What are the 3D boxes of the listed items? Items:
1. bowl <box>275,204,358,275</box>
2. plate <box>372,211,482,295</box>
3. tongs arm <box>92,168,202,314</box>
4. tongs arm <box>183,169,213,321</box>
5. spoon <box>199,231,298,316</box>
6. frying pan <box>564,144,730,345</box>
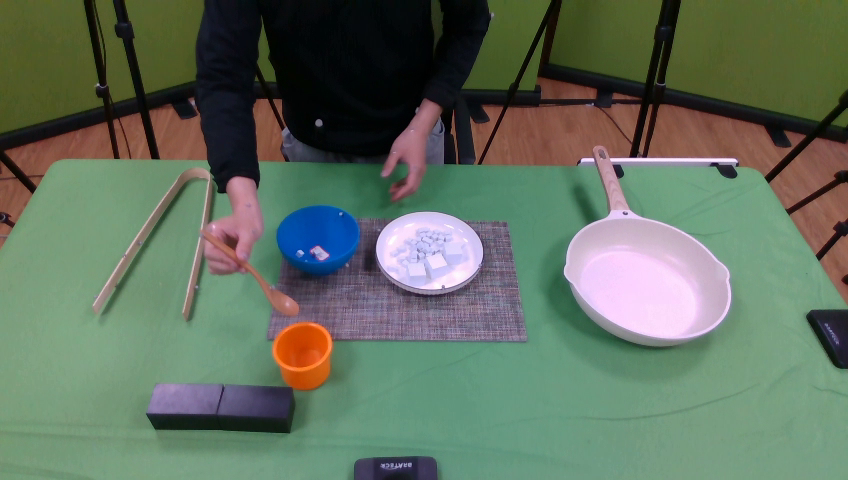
[{"bbox_3d":[-0.196,0.012,1.126,0.151,0.077,0.150,2,46,-2],"label":"bowl"},{"bbox_3d":[0.005,0.028,1.155,0.208,0.039,0.206,3,46,-2],"label":"plate"},{"bbox_3d":[-0.517,-0.013,1.160,0.051,0.026,0.382,7,45,1],"label":"tongs arm"},{"bbox_3d":[-0.437,-0.006,1.166,0.028,0.028,0.385,-5,47,-6],"label":"tongs arm"},{"bbox_3d":[-0.255,0.049,0.892,0.021,0.195,0.041,-28,32,15],"label":"spoon"},{"bbox_3d":[0.396,-0.008,1.179,0.307,0.103,0.484,0,55,-5],"label":"frying pan"}]
